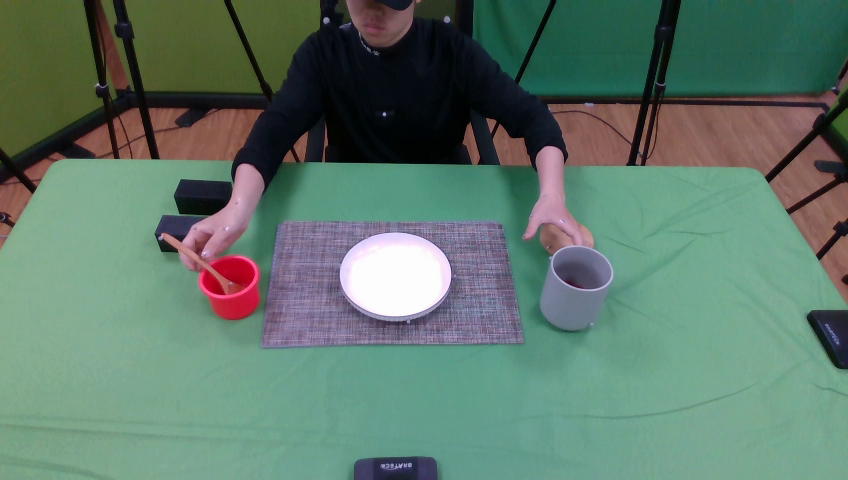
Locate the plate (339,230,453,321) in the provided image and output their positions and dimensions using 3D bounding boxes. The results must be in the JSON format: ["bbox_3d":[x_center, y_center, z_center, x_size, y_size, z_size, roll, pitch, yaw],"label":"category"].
[{"bbox_3d":[-0.051,0.068,1.111,0.208,0.039,0.206,2,46,-2],"label":"plate"}]

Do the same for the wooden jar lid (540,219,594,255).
[{"bbox_3d":[0.286,0.001,1.219,0.108,0.021,0.107,1,46,-1],"label":"wooden jar lid"}]

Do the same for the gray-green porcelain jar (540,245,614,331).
[{"bbox_3d":[0.262,0.088,1.058,0.106,0.127,0.105,2,46,-2],"label":"gray-green porcelain jar"}]

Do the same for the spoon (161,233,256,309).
[{"bbox_3d":[-0.366,0.051,1.036,0.194,0.021,0.041,47,45,-21],"label":"spoon"}]
